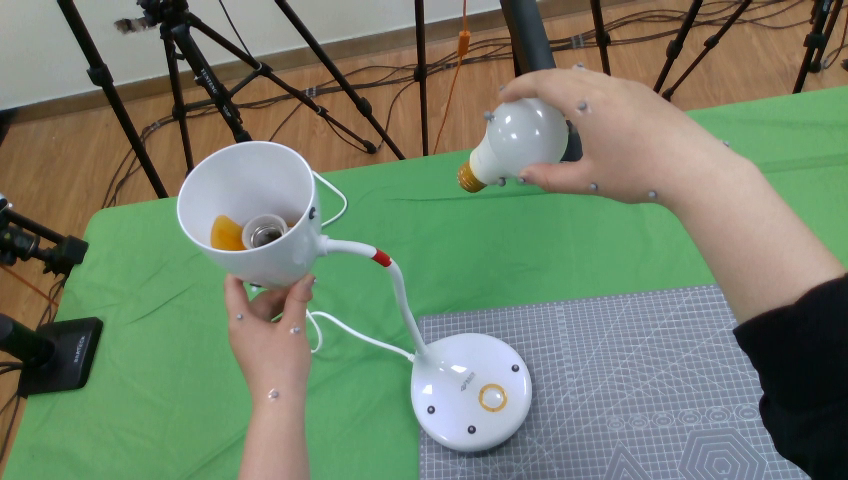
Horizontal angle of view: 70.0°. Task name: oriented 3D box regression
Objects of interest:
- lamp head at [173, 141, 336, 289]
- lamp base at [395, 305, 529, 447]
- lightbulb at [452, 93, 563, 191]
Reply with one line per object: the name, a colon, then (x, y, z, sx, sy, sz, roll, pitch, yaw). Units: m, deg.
lamp head: (-0.139, -0.009, 0.536, 0.112, 0.124, 0.111, -4, 59, 8)
lamp base: (0.031, 0.148, 0.744, 0.178, 0.182, 0.160, 15, 61, 25)
lightbulb: (0.058, -0.068, 0.461, 0.060, 0.107, 0.059, 16, 60, -29)
